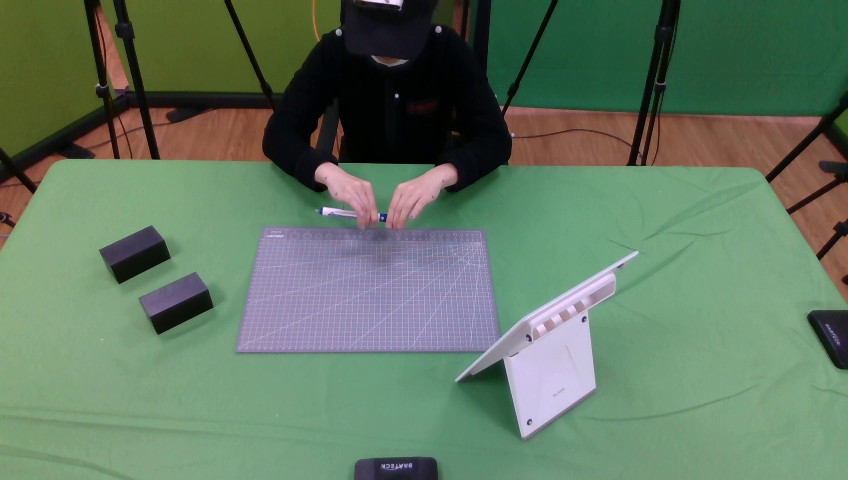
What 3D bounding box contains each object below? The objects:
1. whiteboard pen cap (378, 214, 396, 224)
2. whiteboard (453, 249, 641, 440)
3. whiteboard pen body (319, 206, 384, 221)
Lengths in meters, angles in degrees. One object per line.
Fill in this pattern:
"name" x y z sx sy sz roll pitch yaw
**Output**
"whiteboard pen cap" -0.070 -0.041 1.153 0.033 0.018 0.018 6 46 -7
"whiteboard" 0.206 0.174 0.890 0.217 0.306 0.143 -24 72 -25
"whiteboard pen body" -0.127 -0.049 1.146 0.141 0.017 0.017 6 46 -8
